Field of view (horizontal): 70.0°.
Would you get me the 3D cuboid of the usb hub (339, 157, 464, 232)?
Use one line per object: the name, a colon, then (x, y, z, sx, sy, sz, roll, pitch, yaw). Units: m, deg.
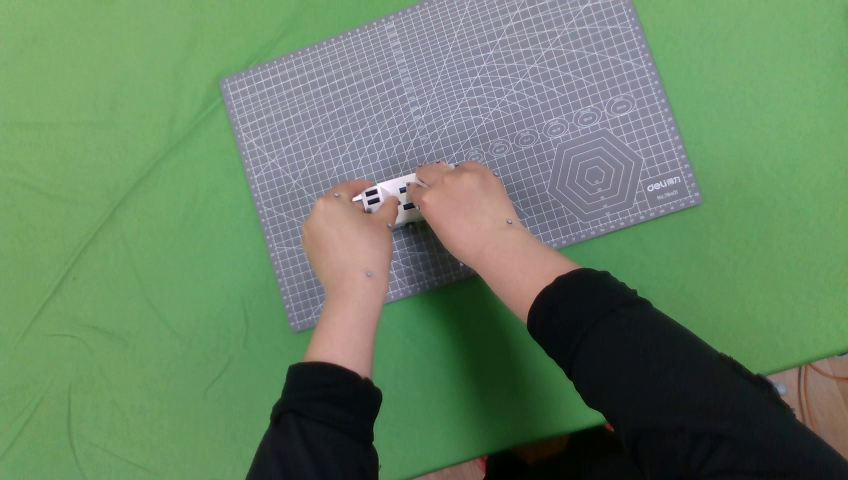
usb hub: (-0.024, -0.048, 0.639, 0.125, 0.025, 0.049, -15, 85, 8)

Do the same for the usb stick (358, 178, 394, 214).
usb stick: (-0.046, -0.042, 0.611, 0.021, 0.059, 0.027, -19, 79, 9)
